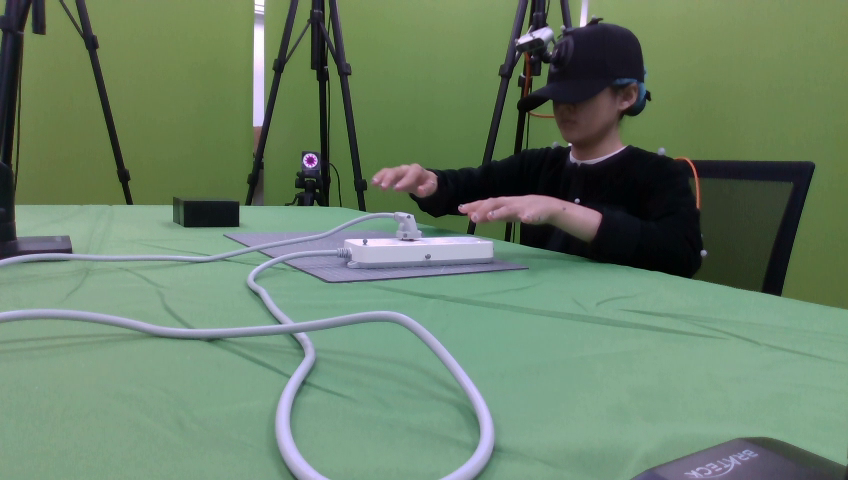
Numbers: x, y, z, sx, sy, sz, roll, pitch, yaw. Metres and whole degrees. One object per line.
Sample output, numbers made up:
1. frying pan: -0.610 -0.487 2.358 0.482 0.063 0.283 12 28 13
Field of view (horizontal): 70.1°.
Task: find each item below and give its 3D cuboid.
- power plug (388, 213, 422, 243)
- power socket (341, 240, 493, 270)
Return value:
1. power plug: -0.027 -0.010 0.848 0.035 0.052 0.072 1 8 -18
2. power socket: -0.006 0.018 0.831 0.228 0.032 0.072 -1 7 -28
